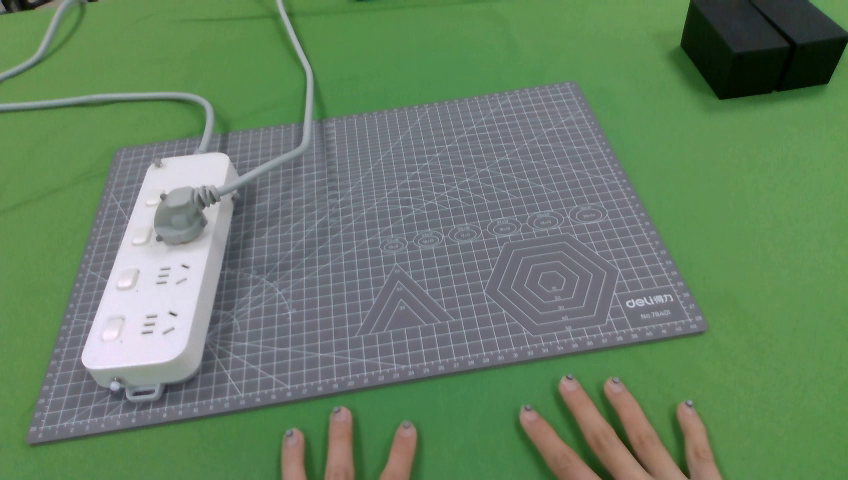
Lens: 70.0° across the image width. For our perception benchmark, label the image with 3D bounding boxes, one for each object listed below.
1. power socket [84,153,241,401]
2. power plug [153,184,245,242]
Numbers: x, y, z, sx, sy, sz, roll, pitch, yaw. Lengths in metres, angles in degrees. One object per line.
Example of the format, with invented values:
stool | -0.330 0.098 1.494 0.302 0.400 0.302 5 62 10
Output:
power socket | -0.190 0.012 0.461 0.072 0.033 0.224 -4 48 -1
power plug | -0.165 -0.013 0.449 0.072 0.053 0.035 2 49 9
